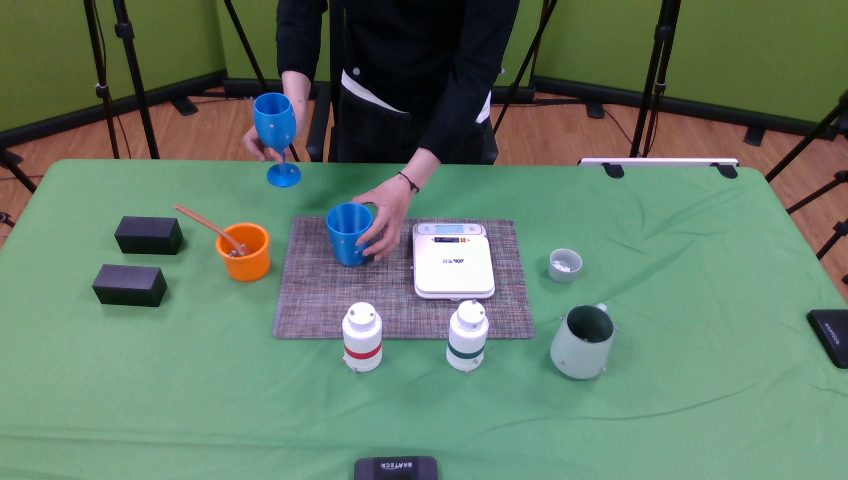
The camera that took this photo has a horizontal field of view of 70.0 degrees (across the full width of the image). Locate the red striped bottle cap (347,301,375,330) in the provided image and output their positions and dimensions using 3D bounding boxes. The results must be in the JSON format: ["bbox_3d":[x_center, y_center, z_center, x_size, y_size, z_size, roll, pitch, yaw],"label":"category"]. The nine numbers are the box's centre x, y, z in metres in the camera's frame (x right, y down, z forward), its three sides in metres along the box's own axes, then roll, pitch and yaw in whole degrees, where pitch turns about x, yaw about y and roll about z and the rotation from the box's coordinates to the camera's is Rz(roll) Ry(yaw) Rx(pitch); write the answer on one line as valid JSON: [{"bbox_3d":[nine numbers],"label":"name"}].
[{"bbox_3d":[-0.097,0.116,0.934,0.044,0.018,0.044,2,49,-3],"label":"red striped bottle cap"}]

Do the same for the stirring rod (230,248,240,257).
[{"bbox_3d":[-0.330,0.023,1.059,0.014,0.176,0.006,33,79,-12],"label":"stirring rod"}]

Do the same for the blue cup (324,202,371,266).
[{"bbox_3d":[-0.140,-0.006,1.131,0.093,0.101,0.092,2,46,-2],"label":"blue cup"}]

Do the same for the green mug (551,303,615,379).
[{"bbox_3d":[0.271,0.157,1.007,0.092,0.105,0.125,27,50,21],"label":"green mug"}]

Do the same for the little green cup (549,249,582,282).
[{"bbox_3d":[0.268,0.050,1.156,0.061,0.039,0.061,2,46,-1],"label":"little green cup"}]

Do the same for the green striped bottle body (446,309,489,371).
[{"bbox_3d":[0.070,0.155,0.984,0.063,0.120,0.063,2,46,-2],"label":"green striped bottle body"}]

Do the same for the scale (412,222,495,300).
[{"bbox_3d":[0.053,0.031,1.158,0.149,0.032,0.199,1,46,-4],"label":"scale"}]

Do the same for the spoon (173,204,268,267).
[{"bbox_3d":[-0.363,-0.009,1.089,0.021,0.195,0.041,-35,31,23],"label":"spoon"}]

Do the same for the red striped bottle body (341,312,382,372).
[{"bbox_3d":[-0.100,0.154,0.972,0.063,0.120,0.062,2,46,-2],"label":"red striped bottle body"}]

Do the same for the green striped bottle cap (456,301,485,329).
[{"bbox_3d":[0.073,0.116,0.943,0.044,0.020,0.044,4,46,-3],"label":"green striped bottle cap"}]

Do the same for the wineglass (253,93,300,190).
[{"bbox_3d":[-0.266,-0.178,1.102,0.074,0.173,0.073,2,50,-3],"label":"wineglass"}]
